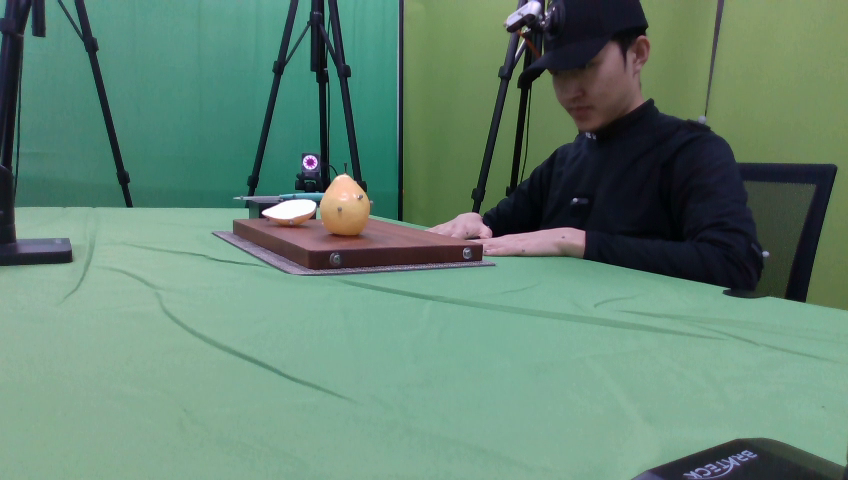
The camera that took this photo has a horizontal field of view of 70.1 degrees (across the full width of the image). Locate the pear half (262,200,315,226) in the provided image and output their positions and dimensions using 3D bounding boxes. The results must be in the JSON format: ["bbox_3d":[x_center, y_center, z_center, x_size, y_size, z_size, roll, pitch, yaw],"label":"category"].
[{"bbox_3d":[-0.223,-0.041,1.008,0.088,0.031,0.070,-11,22,2],"label":"pear half"}]

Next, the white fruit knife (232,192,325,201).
[{"bbox_3d":[-0.302,-0.090,1.291,0.208,0.016,0.027,-4,-13,-27],"label":"white fruit knife"}]

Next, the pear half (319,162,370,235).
[{"bbox_3d":[-0.111,-0.061,0.894,0.055,0.110,0.077,8,13,40],"label":"pear half"}]
